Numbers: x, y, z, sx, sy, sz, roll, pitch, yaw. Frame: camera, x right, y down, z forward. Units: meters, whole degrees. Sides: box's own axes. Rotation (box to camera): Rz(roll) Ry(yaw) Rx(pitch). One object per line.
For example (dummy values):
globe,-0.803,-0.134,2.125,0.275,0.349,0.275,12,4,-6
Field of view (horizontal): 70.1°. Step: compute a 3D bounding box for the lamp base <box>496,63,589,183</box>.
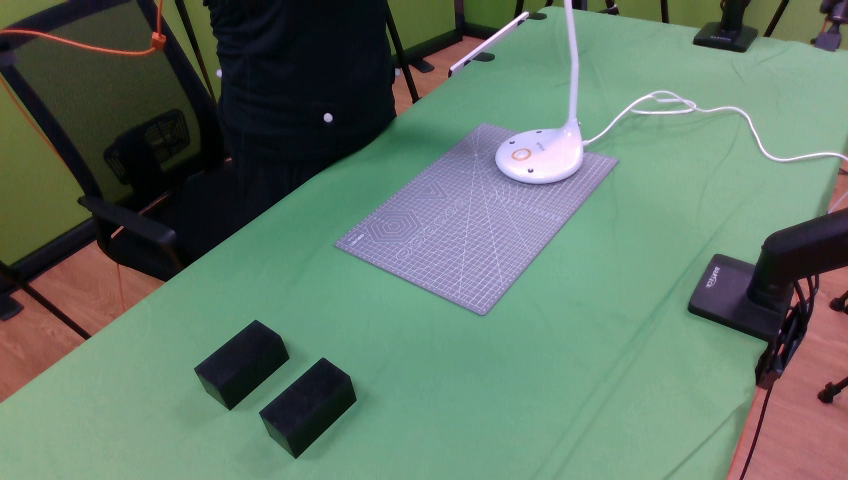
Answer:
lamp base,0.216,-0.217,1.067,0.180,0.181,0.159,-19,42,-18
